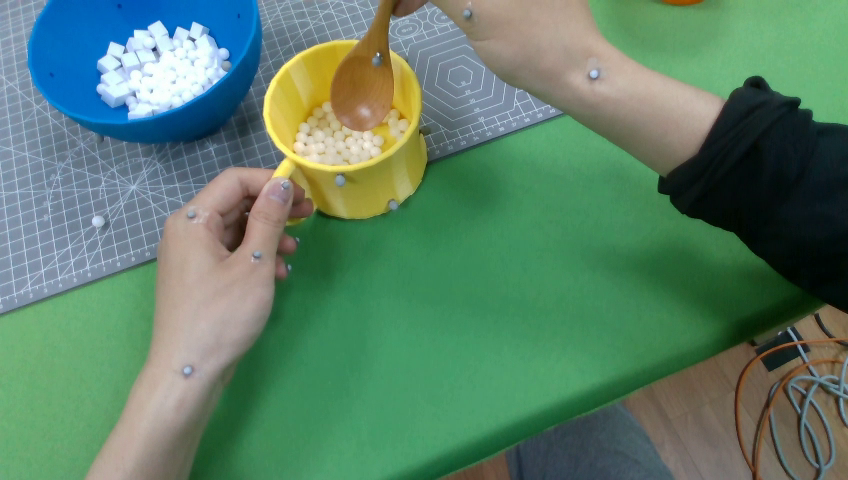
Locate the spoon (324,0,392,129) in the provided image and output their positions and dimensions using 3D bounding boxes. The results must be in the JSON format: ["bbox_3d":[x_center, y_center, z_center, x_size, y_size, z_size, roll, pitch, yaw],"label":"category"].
[{"bbox_3d":[-0.020,-0.136,0.333,0.042,0.194,0.021,21,52,-7],"label":"spoon"}]

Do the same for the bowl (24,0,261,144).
[{"bbox_3d":[-0.180,-0.122,0.425,0.151,0.077,0.150,-1,67,2],"label":"bowl"}]

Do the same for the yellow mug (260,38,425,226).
[{"bbox_3d":[-0.059,-0.062,0.399,0.099,0.064,0.130,33,72,15],"label":"yellow mug"}]
